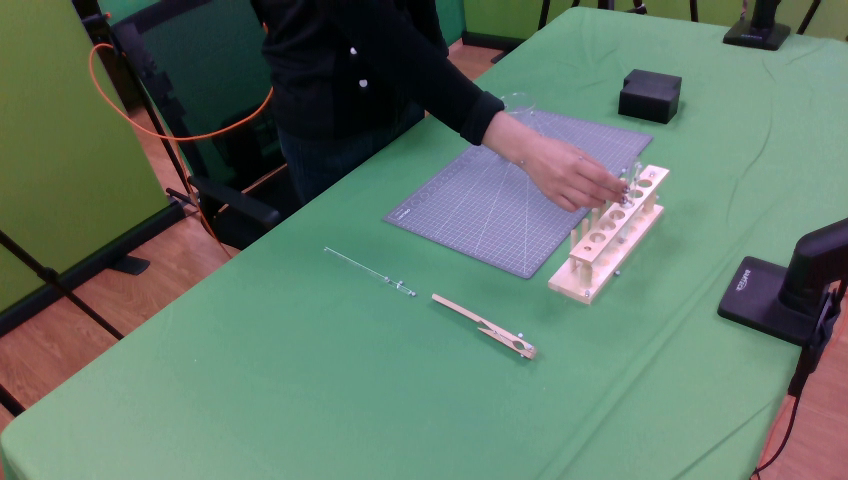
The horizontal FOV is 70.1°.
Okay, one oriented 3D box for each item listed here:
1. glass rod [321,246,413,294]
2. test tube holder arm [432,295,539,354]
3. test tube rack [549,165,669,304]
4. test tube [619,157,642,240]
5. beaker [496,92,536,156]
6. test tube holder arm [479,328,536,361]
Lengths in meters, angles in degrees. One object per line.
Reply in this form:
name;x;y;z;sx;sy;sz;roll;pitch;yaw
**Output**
glass rod;-0.094;0.045;0.956;0.198;0.008;0.008;24;51;33
test tube holder arm;0.081;0.114;0.833;0.177;0.015;0.013;26;86;37
test tube rack;0.279;-0.018;0.902;0.066;0.085;0.243;24;50;33
test tube;0.294;-0.056;0.866;0.017;0.151;0.017;-4;44;5
beaker;0.172;-0.214;1.137;0.084;0.101;0.073;-36;46;-27
test tube holder arm;0.110;0.135;0.806;0.087;0.015;0.010;28;87;37
